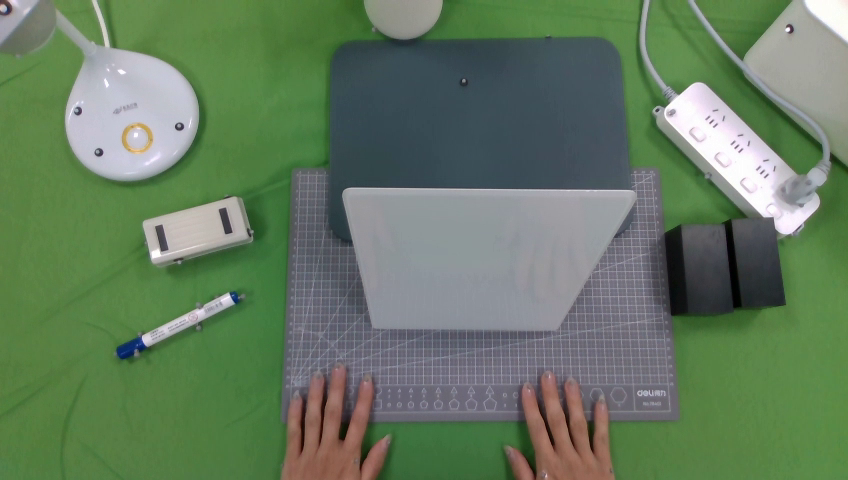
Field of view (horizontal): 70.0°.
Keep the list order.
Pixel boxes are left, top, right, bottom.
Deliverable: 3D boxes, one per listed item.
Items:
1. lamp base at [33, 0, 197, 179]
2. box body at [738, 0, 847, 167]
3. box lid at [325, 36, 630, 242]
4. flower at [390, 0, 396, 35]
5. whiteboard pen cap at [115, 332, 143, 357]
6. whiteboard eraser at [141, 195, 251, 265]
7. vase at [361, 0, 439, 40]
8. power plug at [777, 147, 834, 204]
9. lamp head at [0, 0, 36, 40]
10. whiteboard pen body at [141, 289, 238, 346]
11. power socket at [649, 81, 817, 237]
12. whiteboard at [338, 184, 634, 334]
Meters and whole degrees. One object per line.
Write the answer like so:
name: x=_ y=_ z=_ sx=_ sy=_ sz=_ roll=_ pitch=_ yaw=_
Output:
lamp base: x=-0.365 y=-0.177 z=0.665 sx=0.160 sy=0.181 sz=0.178 roll=-31 pitch=78 yaw=-7
box body: x=0.590 y=-0.198 z=0.691 sx=0.363 sy=0.161 sz=0.254 roll=44 pitch=81 yaw=7
box lid: x=0.065 y=-0.129 z=0.748 sx=0.372 sy=0.015 sz=0.262 roll=-1 pitch=78 yaw=-1
flower: x=-0.022 y=-0.349 z=0.611 sx=0.044 sy=0.364 sz=0.038 roll=38 pitch=64 yaw=13
whiteboard pen cap: x=-0.333 y=0.118 z=0.689 sx=0.033 sy=0.018 sz=0.018 roll=-28 pitch=80 yaw=-3
whiteboard eraser: x=-0.264 y=-0.012 z=0.705 sx=0.113 sy=0.042 sz=0.055 roll=-16 pitch=82 yaw=-4
vase: x=-0.028 y=-0.317 z=0.689 sx=0.098 sy=0.201 sz=0.097 roll=0 pitch=77 yaw=-1
power plug: x=0.446 y=-0.069 z=0.707 sx=0.072 sy=0.053 sz=0.035 roll=-30 pitch=79 yaw=-11
lamp head: x=-0.321 y=-0.193 z=0.389 sx=0.112 sy=0.124 sz=0.111 roll=-24 pitch=45 yaw=26
whiteboard pen body: x=-0.280 y=0.094 z=0.695 sx=0.141 sy=0.017 sz=0.017 roll=-27 pitch=80 yaw=-5
power socket: x=0.375 y=-0.099 z=0.735 sx=0.072 sy=0.033 sz=0.226 roll=-41 pitch=81 yaw=-8
whiteboard: x=0.047 y=-0.025 z=0.600 sx=0.217 sy=0.308 sz=0.142 roll=1 pitch=63 yaw=0
